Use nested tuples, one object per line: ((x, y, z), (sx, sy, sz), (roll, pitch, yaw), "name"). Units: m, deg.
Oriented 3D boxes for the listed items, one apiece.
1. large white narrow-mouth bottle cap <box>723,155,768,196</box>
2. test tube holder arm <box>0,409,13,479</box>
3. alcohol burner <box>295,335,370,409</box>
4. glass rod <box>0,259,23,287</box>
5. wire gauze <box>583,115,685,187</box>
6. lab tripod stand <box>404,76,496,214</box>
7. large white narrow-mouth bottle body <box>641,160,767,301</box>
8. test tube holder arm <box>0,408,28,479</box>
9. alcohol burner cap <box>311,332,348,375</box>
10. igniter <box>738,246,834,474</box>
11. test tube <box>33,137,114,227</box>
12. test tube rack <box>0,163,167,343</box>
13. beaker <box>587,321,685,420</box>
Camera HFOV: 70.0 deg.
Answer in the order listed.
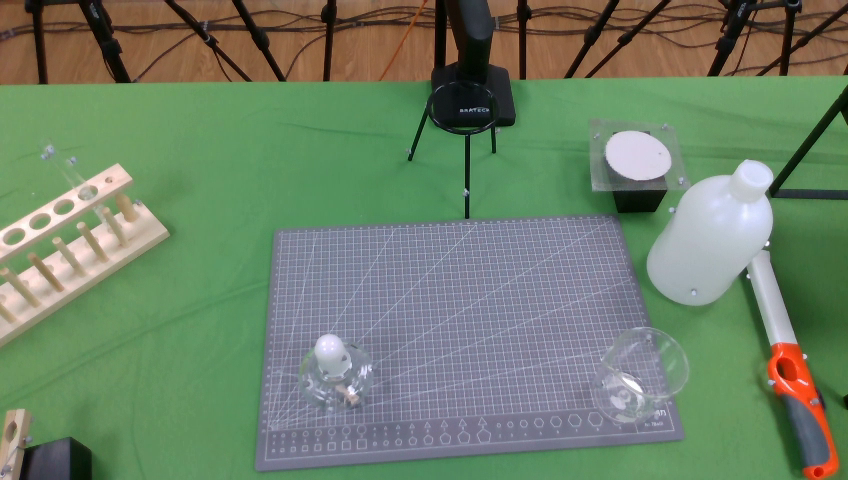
((0.323, -0.065, 0.610), (0.038, 0.024, 0.037), (1, 56, -1), "large white narrow-mouth bottle cap")
((-0.388, 0.202, 0.560), (0.010, 0.015, 0.087), (-10, 62, 0), "test tube holder arm")
((-0.094, 0.127, 0.618), (0.078, 0.120, 0.077), (2, 55, -3), "alcohol burner")
((-0.464, -0.009, 0.634), (0.008, 0.201, 0.008), (3, 48, -3), "glass rod")
((0.272, -0.117, 0.798), (0.121, 0.011, 0.124), (4, 56, 1), "wire gauze")
((0.043, -0.129, 0.782), (0.148, 0.132, 0.147), (2, 58, -3), "lab tripod stand")
((0.321, -0.016, 0.682), (0.102, 0.196, 0.101), (1, 56, -1), "large white narrow-mouth bottle body")
((-0.375, 0.240, 0.539), (0.013, 0.015, 0.176), (-11, 62, 0), "test tube holder arm")
((-0.094, 0.108, 0.587), (0.034, 0.048, 0.033), (-2, 57, 3), "alcohol burner cap")
((0.407, 0.125, 0.693), (0.057, 0.025, 0.274), (7, 56, -9), "igniter")
((-0.395, -0.061, 0.691), (0.017, 0.151, 0.017), (-2, 56, 3), "test tube")
((-0.432, 0.020, 0.696), (0.242, 0.086, 0.066), (-39, 66, -24), "test tube rack")
((0.212, 0.140, 0.629), (0.084, 0.101, 0.073), (2, 56, 1), "beaker")
